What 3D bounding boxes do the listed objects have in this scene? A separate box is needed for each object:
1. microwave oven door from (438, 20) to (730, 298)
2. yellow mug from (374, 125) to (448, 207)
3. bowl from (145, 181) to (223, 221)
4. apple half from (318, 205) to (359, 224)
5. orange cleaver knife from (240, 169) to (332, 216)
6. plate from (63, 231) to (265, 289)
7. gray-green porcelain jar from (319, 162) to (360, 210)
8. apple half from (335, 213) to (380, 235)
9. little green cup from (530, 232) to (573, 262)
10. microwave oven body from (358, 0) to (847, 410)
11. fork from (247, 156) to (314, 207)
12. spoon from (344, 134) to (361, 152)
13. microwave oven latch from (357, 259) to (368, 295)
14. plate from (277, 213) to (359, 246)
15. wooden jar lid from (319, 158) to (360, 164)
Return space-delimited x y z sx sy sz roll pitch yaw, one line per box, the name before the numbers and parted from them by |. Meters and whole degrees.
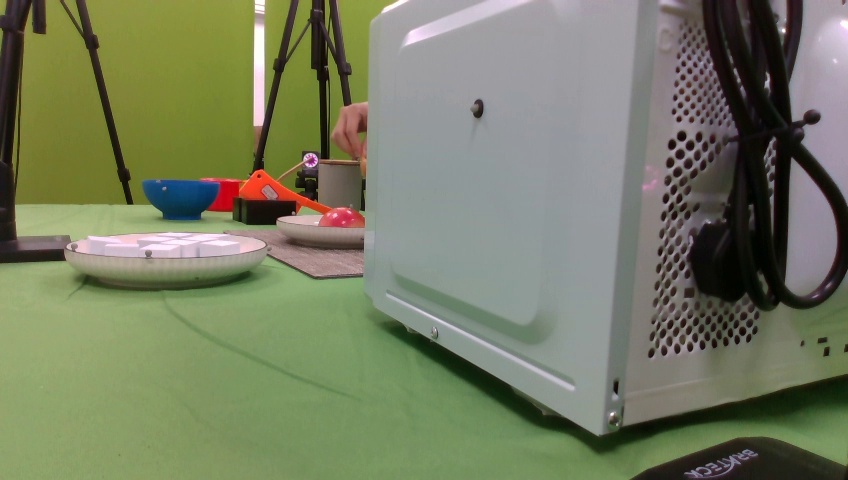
microwave oven door | 0.181 -0.076 0.618 0.358 0.243 0.039 -2 8 -28
yellow mug | -0.013 -0.122 0.945 0.100 0.130 0.064 -4 46 -50
bowl | -0.499 -0.081 1.261 0.151 0.077 0.151 2 8 0
apple half | -0.126 -0.028 0.954 0.081 0.053 0.074 -2 11 -33
orange cleaver knife | -0.286 -0.082 1.298 0.212 0.077 0.012 25 -2 -31
plate | -0.288 0.021 0.687 0.208 0.039 0.207 2 8 0
gray-green porcelain jar | -0.204 -0.126 1.489 0.106 0.126 0.106 2 7 0
apple half | -0.112 -0.029 1.034 0.081 0.033 0.081 -1 9 0
little green cup | 0.184 0.010 0.879 0.061 0.038 0.061 2 5 0
microwave oven body | 0.210 -0.051 0.471 0.444 0.260 0.324 -1 7 -28
fork | -0.360 -0.147 1.523 0.207 0.018 0.028 -43 15 -7
spoon | -0.109 -0.148 1.040 0.022 0.042 0.193 -21 33 -8
microwave oven latch | -0.019 0.031 0.529 0.079 0.029 0.030 -1 7 -26
plate | -0.135 -0.018 0.993 0.209 0.038 0.209 2 7 0
wooden jar lid | -0.203 -0.189 1.482 0.108 0.020 0.108 2 10 0
